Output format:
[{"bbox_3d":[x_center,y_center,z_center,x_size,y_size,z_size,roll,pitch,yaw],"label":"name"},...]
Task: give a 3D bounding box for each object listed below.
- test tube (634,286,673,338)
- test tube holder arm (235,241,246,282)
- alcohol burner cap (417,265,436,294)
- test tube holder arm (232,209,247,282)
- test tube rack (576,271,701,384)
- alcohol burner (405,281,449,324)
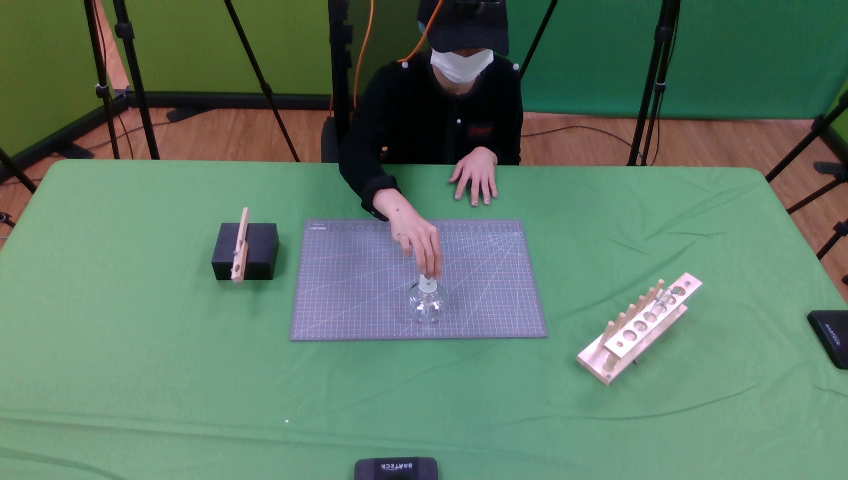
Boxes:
[{"bbox_3d":[0.374,0.123,0.994,0.017,0.151,0.017,2,52,-2],"label":"test tube"},{"bbox_3d":[-0.323,0.037,1.071,0.010,0.015,0.087,-8,46,-2],"label":"test tube holder arm"},{"bbox_3d":[0.005,0.063,1.016,0.034,0.048,0.033,2,43,-1],"label":"alcohol burner cap"},{"bbox_3d":[-0.335,0.006,1.102,0.013,0.015,0.177,-9,46,-3],"label":"test tube holder arm"},{"bbox_3d":[0.373,0.138,1.047,0.242,0.085,0.066,-31,56,-29],"label":"test tube rack"},{"bbox_3d":[0.005,0.089,1.043,0.078,0.120,0.077,1,45,-1],"label":"alcohol burner"}]
